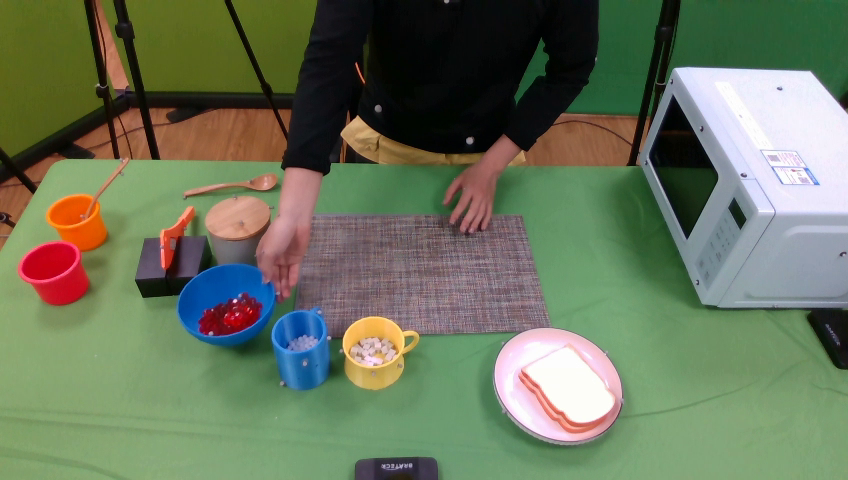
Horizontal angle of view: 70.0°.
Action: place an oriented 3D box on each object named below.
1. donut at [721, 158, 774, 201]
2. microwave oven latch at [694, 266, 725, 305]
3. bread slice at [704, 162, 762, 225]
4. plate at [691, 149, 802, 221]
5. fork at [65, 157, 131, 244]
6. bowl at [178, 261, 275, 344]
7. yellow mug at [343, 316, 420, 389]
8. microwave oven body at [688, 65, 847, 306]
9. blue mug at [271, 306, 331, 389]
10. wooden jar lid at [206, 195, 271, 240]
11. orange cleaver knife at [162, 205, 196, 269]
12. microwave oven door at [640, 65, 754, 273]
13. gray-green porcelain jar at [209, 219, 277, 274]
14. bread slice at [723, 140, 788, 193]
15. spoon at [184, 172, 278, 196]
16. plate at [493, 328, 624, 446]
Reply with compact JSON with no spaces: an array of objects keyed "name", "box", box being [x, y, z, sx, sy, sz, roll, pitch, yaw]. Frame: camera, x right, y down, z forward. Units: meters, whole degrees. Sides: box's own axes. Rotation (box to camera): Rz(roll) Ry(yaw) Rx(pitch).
[{"name":"donut","box":[0.648,-0.122,1.215,0.099,0.048,0.098,-3,55,5]},{"name":"microwave oven latch","box":[0.523,0.082,1.115,0.030,0.029,0.078,3,46,0]},{"name":"bread slice","box":[0.649,-0.103,1.265,0.105,0.019,0.131,13,71,11]},{"name":"plate","box":[0.652,-0.108,1.237,0.209,0.038,0.208,-1,46,1]},{"name":"fork","box":[-0.608,-0.074,1.133,0.207,0.019,0.028,-52,49,10]},{"name":"bowl","box":[-0.313,0.116,0.989,0.151,0.077,0.150,1,47,-1]},{"name":"yellow mug","box":[-0.067,0.177,0.990,0.131,0.064,0.099,-15,50,-19]},{"name":"microwave oven body","box":[0.669,-0.111,1.176,0.326,0.261,0.439,0,46,-3]},{"name":"blue mug","box":[-0.187,0.163,0.969,0.082,0.106,0.116,15,47,10]},{"name":"wooden jar lid","box":[-0.319,-0.036,1.046,0.108,0.021,0.107,1,44,0]},{"name":"orange cleaver knife","box":[-0.454,-0.010,1.129,0.012,0.077,0.210,-2,20,-5]},{"name":"microwave oven door","box":[0.524,-0.147,1.193,0.039,0.245,0.353,0,47,-3]},{"name":"gray-green porcelain jar","box":[-0.323,0.007,1.092,0.106,0.127,0.105,2,46,-1]},{"name":"bread slice","box":[0.661,-0.147,1.201,0.107,0.018,0.133,0,53,9]},{"name":"spoon","box":[-0.405,-0.116,1.275,0.194,0.022,0.041,-8,65,-12]},{"name":"plate","box":[0.213,0.236,0.974,0.208,0.039,0.206,2,46,-2]}]
